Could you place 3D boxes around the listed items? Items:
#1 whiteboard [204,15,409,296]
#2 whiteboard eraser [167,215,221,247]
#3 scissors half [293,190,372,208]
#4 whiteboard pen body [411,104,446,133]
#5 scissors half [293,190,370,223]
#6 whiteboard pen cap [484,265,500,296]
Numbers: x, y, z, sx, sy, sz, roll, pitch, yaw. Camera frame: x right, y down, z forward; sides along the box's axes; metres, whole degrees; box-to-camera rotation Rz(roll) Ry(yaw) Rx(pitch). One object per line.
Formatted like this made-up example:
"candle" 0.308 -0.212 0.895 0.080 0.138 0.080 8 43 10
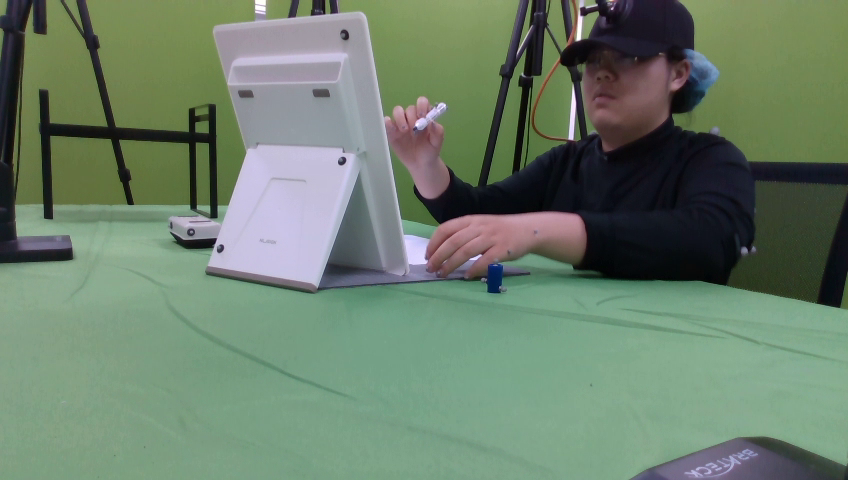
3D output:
"whiteboard" -0.166 -0.072 0.669 0.216 0.305 0.144 8 30 30
"whiteboard eraser" -0.350 -0.014 0.920 0.056 0.042 0.112 0 7 -35
"scissors half" -0.201 -0.096 1.333 0.175 0.040 0.013 5 18 -4
"whiteboard pen body" 0.006 -0.183 0.917 0.017 0.017 0.141 5 27 19
"scissors half" -0.205 -0.078 1.338 0.175 0.040 0.013 22 11 -8
"whiteboard pen cap" 0.075 0.045 0.668 0.018 0.033 0.018 3 6 0
